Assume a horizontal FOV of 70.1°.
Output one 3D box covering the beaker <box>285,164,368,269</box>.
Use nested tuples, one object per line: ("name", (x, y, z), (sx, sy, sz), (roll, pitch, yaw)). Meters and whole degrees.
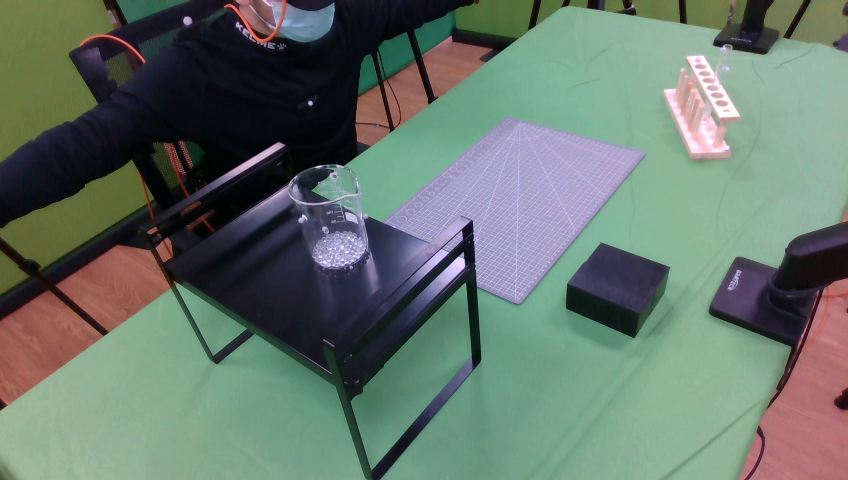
("beaker", (-0.102, -0.024, 0.676), (0.083, 0.101, 0.074), (8, 43, 17))

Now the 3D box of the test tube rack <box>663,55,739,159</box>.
("test tube rack", (0.517, -0.256, 1.144), (0.066, 0.085, 0.241), (-1, 41, 8))

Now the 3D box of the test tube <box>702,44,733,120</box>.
("test tube", (0.530, -0.282, 1.096), (0.017, 0.151, 0.017), (-2, 45, 3))
